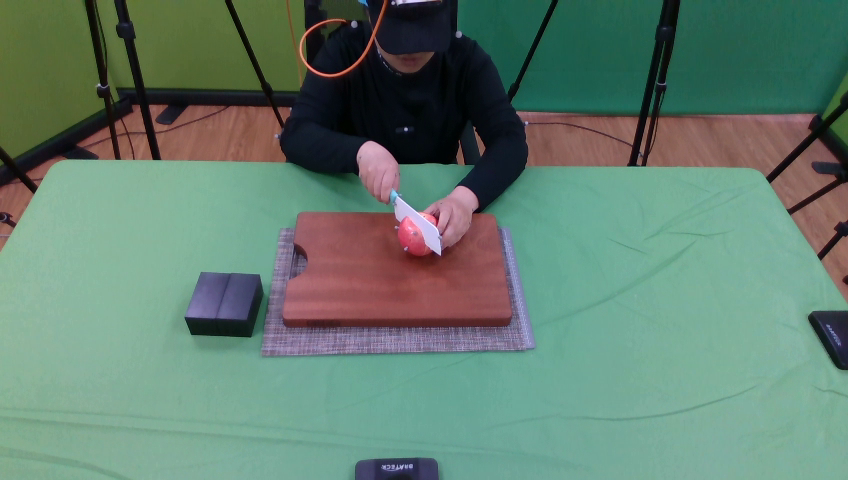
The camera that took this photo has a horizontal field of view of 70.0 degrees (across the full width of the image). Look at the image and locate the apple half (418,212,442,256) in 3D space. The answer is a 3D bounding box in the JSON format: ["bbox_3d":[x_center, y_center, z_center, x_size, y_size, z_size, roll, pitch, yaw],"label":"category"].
[{"bbox_3d":[0.005,-0.014,1.137,0.053,0.075,0.080,-20,44,-26],"label":"apple half"}]

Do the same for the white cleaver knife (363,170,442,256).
[{"bbox_3d":[-0.046,-0.055,1.138,0.021,0.066,0.284,-17,37,-25],"label":"white cleaver knife"}]

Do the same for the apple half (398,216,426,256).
[{"bbox_3d":[-0.030,0.000,1.121,0.033,0.081,0.081,-23,51,-24],"label":"apple half"}]
